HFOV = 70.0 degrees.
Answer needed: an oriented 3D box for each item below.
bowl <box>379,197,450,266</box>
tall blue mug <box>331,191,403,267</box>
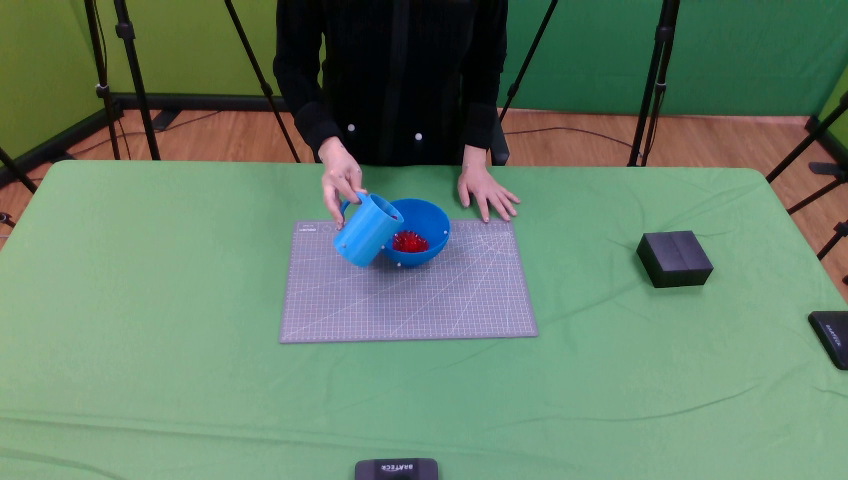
[{"bbox_3d":[-0.028,-0.003,1.156,0.151,0.077,0.150,2,46,-2],"label":"bowl"},{"bbox_3d":[-0.111,-0.027,1.049,0.107,0.108,0.077,39,15,-3],"label":"tall blue mug"}]
